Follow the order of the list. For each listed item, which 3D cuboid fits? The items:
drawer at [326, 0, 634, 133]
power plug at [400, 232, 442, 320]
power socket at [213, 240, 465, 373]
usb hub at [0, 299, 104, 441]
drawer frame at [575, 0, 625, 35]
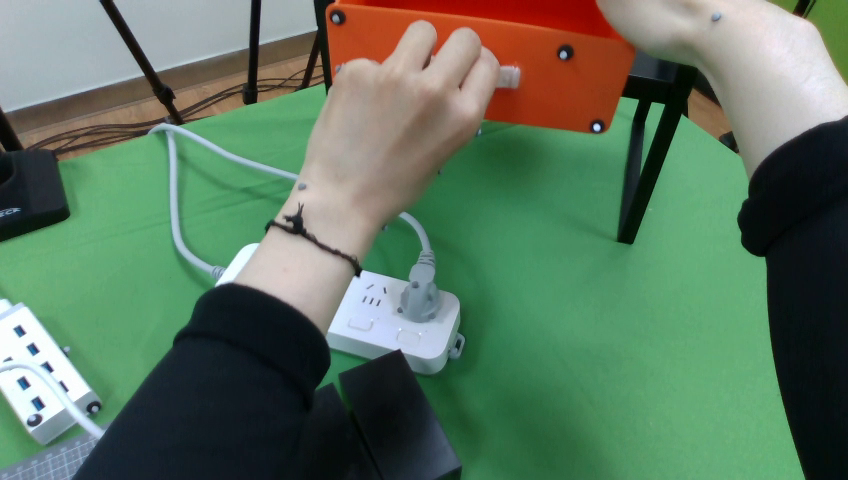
[{"bbox_3d":[0.049,-0.181,0.465,0.194,0.074,0.210,9,46,5],"label":"drawer"},{"bbox_3d":[0.006,0.037,0.514,0.035,0.053,0.072,22,53,20],"label":"power plug"},{"bbox_3d":[-0.075,0.055,0.526,0.226,0.033,0.072,14,49,12],"label":"power socket"},{"bbox_3d":[-0.314,0.101,0.486,0.124,0.025,0.049,35,57,27],"label":"usb hub"},{"bbox_3d":[0.061,-0.240,0.517,0.201,0.083,0.212,8,48,6],"label":"drawer frame"}]
